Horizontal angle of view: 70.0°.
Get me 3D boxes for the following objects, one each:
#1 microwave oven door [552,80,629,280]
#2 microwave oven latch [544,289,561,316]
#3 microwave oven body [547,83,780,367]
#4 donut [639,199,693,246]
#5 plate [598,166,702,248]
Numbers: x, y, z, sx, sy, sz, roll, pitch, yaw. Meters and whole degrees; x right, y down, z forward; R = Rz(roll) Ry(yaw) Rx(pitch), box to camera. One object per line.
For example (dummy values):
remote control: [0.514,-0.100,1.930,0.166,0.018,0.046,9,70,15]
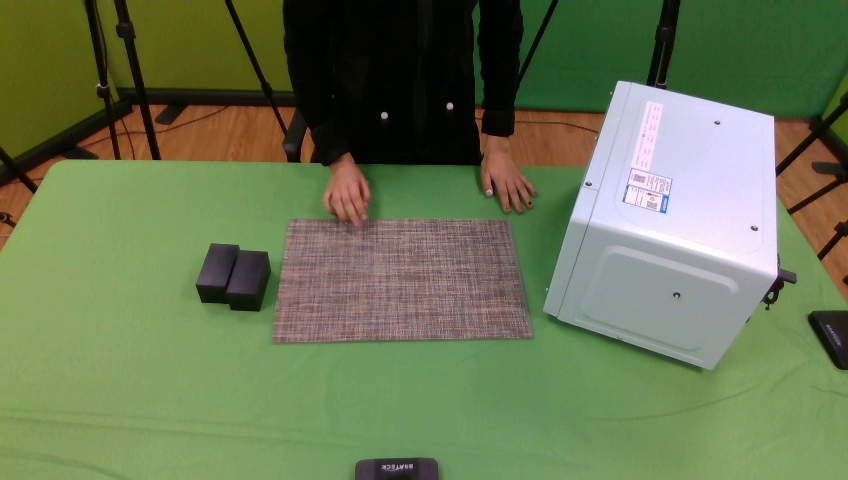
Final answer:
microwave oven door: [0.324,-0.116,1.156,0.039,0.245,0.354,18,48,13]
microwave oven latch: [0.237,0.098,1.087,0.030,0.029,0.079,18,47,14]
microwave oven body: [0.445,-0.041,1.101,0.325,0.261,0.440,17,47,13]
donut: [0.463,-0.034,1.160,0.099,0.048,0.098,-1,61,2]
plate: [0.432,-0.062,1.174,0.209,0.038,0.208,9,48,-9]
